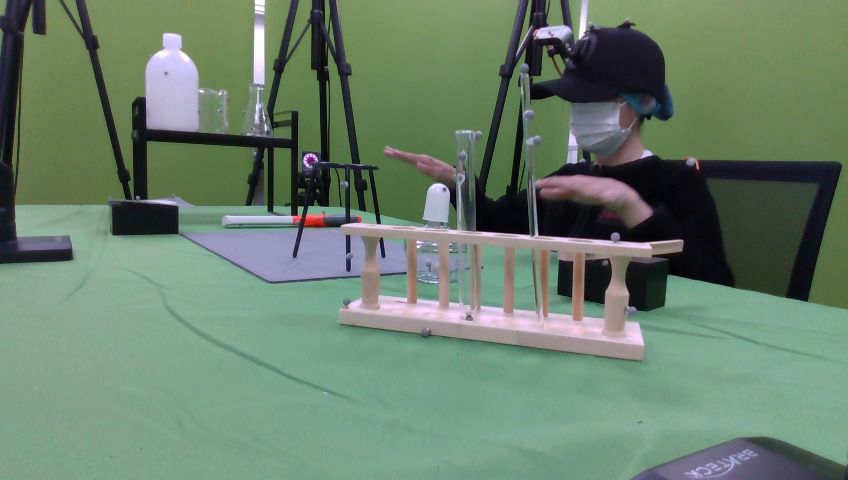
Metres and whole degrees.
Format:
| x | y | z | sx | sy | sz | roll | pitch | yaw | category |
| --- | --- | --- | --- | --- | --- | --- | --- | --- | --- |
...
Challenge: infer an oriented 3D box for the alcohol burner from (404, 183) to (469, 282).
| x | y | z | sx | sy | sz | roll | pitch | yaw | category |
| --- | --- | --- | --- | --- | --- | --- | --- | --- | --- |
| 0.015 | -0.011 | 0.715 | 0.078 | 0.119 | 0.078 | 0 | 7 | 0 | alcohol burner |

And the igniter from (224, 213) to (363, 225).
| x | y | z | sx | sy | sz | roll | pitch | yaw | category |
| --- | --- | --- | --- | --- | --- | --- | --- | --- | --- |
| -0.255 | -0.041 | 1.210 | 0.278 | 0.025 | 0.057 | -2 | -2 | -31 | igniter |

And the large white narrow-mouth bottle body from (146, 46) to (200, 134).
| x | y | z | sx | sy | sz | roll | pitch | yaw | category |
| --- | --- | --- | --- | --- | --- | --- | --- | --- | --- |
| -0.516 | -0.319 | 1.243 | 0.102 | 0.194 | 0.102 | 2 | 7 | 0 | large white narrow-mouth bottle body |

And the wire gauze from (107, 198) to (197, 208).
| x | y | z | sx | sy | sz | roll | pitch | yaw | category |
| --- | --- | --- | --- | --- | --- | --- | --- | --- | --- |
| -0.462 | -0.064 | 1.023 | 0.126 | 0.011 | 0.121 | -2 | 7 | -32 | wire gauze |

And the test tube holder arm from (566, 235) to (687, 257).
| x | y | z | sx | sy | sz | roll | pitch | yaw | category |
| --- | --- | --- | --- | --- | --- | --- | --- | --- | --- |
| 0.215 | 0.006 | 0.630 | 0.179 | 0.015 | 0.013 | -3 | 9 | -31 | test tube holder arm |

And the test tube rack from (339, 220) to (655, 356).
| x | y | z | sx | sy | sz | roll | pitch | yaw | category |
| --- | --- | --- | --- | --- | --- | --- | --- | --- | --- |
| 0.056 | 0.032 | 0.495 | 0.242 | 0.085 | 0.067 | 4 | 7 | 15 | test tube rack |

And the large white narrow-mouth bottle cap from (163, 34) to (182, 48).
| x | y | z | sx | sy | sz | roll | pitch | yaw | category |
| --- | --- | --- | --- | --- | --- | --- | --- | --- | --- |
| -0.514 | -0.404 | 1.233 | 0.038 | 0.024 | 0.037 | 2 | 7 | 0 | large white narrow-mouth bottle cap |

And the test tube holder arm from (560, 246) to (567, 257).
| x | y | z | sx | sy | sz | roll | pitch | yaw | category |
| --- | --- | --- | --- | --- | --- | --- | --- | --- | --- |
| 0.173 | 0.007 | 0.612 | 0.088 | 0.015 | 0.010 | -3 | 9 | -30 | test tube holder arm |

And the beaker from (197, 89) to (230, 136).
| x | y | z | sx | sy | sz | roll | pitch | yaw | category |
| --- | --- | --- | --- | --- | --- | --- | --- | --- | --- |
| -0.472 | -0.283 | 1.353 | 0.074 | 0.100 | 0.083 | -4 | 10 | -35 | beaker |

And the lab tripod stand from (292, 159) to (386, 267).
| x | y | z | sx | sy | sz | roll | pitch | yaw | category |
| --- | --- | --- | --- | --- | --- | --- | --- | --- | --- |
| -0.105 | -0.039 | 0.798 | 0.148 | 0.131 | 0.148 | 2 | 5 | 0 | lab tripod stand |

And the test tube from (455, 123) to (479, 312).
| x | y | z | sx | sy | sz | roll | pitch | yaw | category |
| --- | --- | --- | --- | --- | --- | --- | --- | --- | --- |
| 0.034 | -0.016 | 0.476 | 0.017 | 0.150 | 0.017 | -2 | 10 | 1 | test tube |

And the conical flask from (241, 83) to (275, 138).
| x | y | z | sx | sy | sz | roll | pitch | yaw | category |
| --- | --- | --- | --- | --- | --- | --- | --- | --- | --- |
| -0.383 | -0.297 | 1.392 | 0.075 | 0.122 | 0.075 | 2 | 7 | 0 | conical flask |

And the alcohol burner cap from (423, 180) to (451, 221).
| x | y | z | sx | sy | sz | roll | pitch | yaw | category |
| --- | --- | --- | --- | --- | --- | --- | --- | --- | --- |
| 0.017 | -0.047 | 0.711 | 0.034 | 0.048 | 0.034 | 8 | 5 | 0 | alcohol burner cap |

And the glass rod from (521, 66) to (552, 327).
| x | y | z | sx | sy | sz | roll | pitch | yaw | category |
| --- | --- | --- | --- | --- | --- | --- | --- | --- | --- |
| 0.085 | -0.028 | 0.454 | 0.008 | 0.199 | 0.008 | -7 | 10 | 2 | glass rod |
